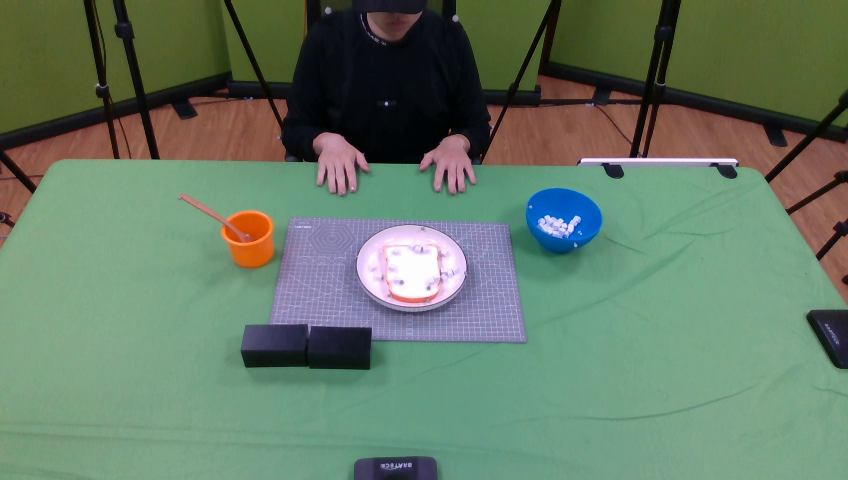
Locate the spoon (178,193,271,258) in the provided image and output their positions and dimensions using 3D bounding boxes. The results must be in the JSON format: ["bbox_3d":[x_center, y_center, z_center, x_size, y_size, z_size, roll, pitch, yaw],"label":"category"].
[{"bbox_3d":[-0.362,-0.028,1.109,0.195,0.021,0.041,42,35,-27],"label":"spoon"}]

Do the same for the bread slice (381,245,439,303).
[{"bbox_3d":[-0.022,0.061,1.126,0.107,0.018,0.133,-3,45,-8],"label":"bread slice"}]

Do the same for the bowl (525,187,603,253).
[{"bbox_3d":[0.271,-0.028,1.206,0.151,0.077,0.150,2,46,-2],"label":"bowl"}]

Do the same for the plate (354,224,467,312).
[{"bbox_3d":[-0.025,0.055,1.128,0.209,0.038,0.208,3,46,-2],"label":"plate"}]
